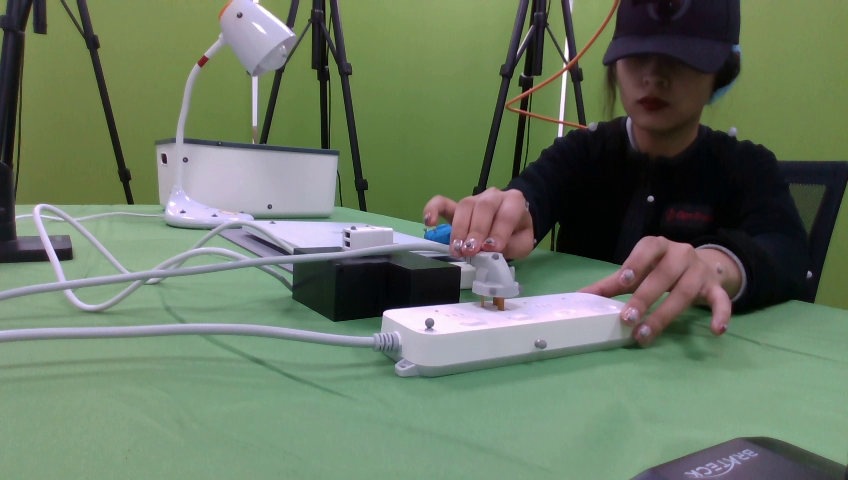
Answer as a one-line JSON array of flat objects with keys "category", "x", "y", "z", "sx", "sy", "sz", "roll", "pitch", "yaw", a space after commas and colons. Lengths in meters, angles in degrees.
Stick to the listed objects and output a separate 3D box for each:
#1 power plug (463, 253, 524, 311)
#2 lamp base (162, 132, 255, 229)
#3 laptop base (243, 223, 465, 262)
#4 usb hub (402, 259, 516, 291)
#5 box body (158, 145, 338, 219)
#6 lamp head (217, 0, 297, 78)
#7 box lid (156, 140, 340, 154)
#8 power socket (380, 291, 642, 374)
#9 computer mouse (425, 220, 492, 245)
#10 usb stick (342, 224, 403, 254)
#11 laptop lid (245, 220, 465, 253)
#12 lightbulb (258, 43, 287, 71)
[{"category": "power plug", "x": 0.044, "y": 0.037, "z": 0.441, "sx": 0.035, "sy": 0.052, "sz": 0.073, "roll": -9, "pitch": 2, "yaw": 42}, {"category": "lamp base", "x": -0.420, "y": -0.116, "z": 1.156, "sx": 0.179, "sy": 0.180, "sz": 0.160, "roll": 0, "pitch": 8, "yaw": 0}, {"category": "laptop base", "x": -0.127, "y": 0.003, "z": 0.945, "sx": 0.237, "sy": 0.023, "sz": 0.352, "roll": 2, "pitch": 6, "yaw": -31}, {"category": "usb hub", "x": 0.041, "y": 0.039, "z": 0.689, "sx": 0.126, "sy": 0.025, "sz": 0.049, "roll": -2, "pitch": 10, "yaw": -30}, {"category": "box body", "x": -0.410, "y": -0.139, "z": 1.414, "sx": 0.366, "sy": 0.160, "sz": 0.253, "roll": -3, "pitch": 9, "yaw": -33}, {"category": "lamp head", "x": -0.315, "y": -0.372, "z": 1.101, "sx": 0.123, "sy": 0.112, "sz": 0.112, "roll": 41, "pitch": 2, "yaw": -9}, {"category": "box lid", "x": -0.409, "y": -0.212, "z": 1.404, "sx": 0.373, "sy": 0.015, "sz": 0.262, "roll": -2, "pitch": 8, "yaw": -32}, {"category": "power socket", "x": 0.072, "y": 0.065, "z": 0.460, "sx": 0.228, "sy": 0.032, "sz": 0.072, "roll": -2, "pitch": 7, "yaw": -30}, {"category": "computer mouse", "x": 0.060, "y": -0.013, "z": 1.059, "sx": 0.117, "sy": 0.041, "sz": 0.062, "roll": -3, "pitch": 10, "yaw": -5}, {"category": "usb stick", "x": -0.047, "y": -0.001, "z": 0.567, "sx": 0.059, "sy": 0.027, "sz": 0.021, "roll": 0, "pitch": 6, "yaw": -32}, {"category": "laptop lid", "x": -0.124, "y": -0.009, "z": 0.945, "sx": 0.243, "sy": 0.013, "sz": 0.355, "roll": 1, "pitch": 7, "yaw": -29}, {"category": "lightbulb", "x": -0.295, "y": -0.357, "z": 1.101, "sx": 0.059, "sy": 0.107, "sz": 0.059, "roll": -38, "pitch": 2, "yaw": 2}]
